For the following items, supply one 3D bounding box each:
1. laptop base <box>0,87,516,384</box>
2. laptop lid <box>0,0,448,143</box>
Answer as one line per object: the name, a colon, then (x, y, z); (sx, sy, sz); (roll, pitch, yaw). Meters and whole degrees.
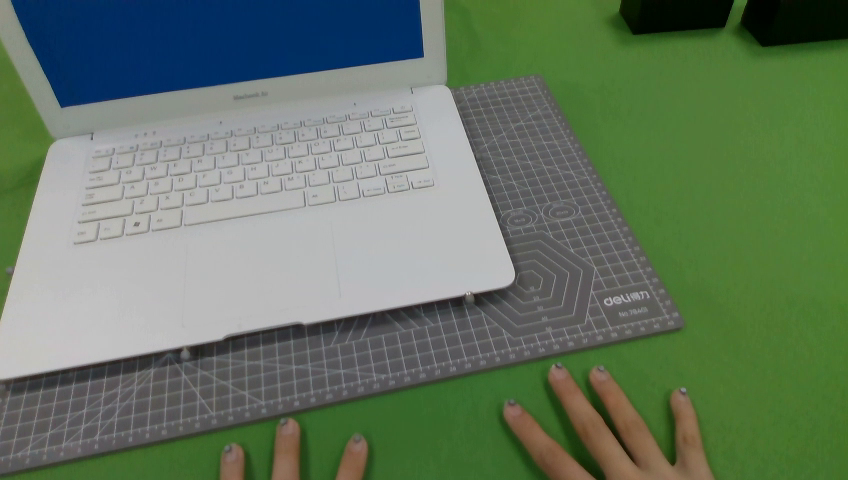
laptop base: (-0.128, -0.021, 0.478); (0.355, 0.023, 0.233); (-10, 53, -6)
laptop lid: (-0.159, -0.200, 0.477); (0.357, 0.244, 0.013); (-11, 40, -5)
